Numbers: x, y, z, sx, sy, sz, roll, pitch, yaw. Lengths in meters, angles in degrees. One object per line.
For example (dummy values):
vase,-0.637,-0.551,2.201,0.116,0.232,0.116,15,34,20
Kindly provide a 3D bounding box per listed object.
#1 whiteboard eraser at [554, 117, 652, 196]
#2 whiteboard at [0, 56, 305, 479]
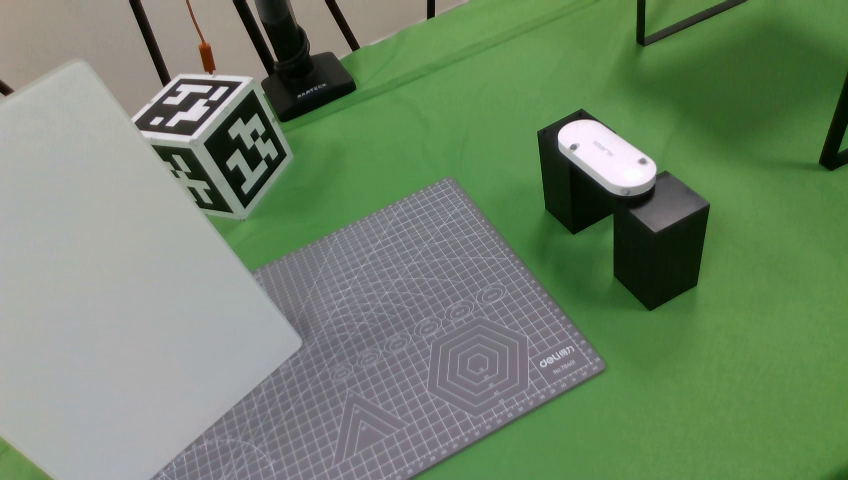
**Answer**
whiteboard eraser,0.147,-0.073,0.507,0.041,0.019,0.100,-28,47,-11
whiteboard,-0.292,0.038,0.520,0.217,0.308,0.142,-42,31,-20
